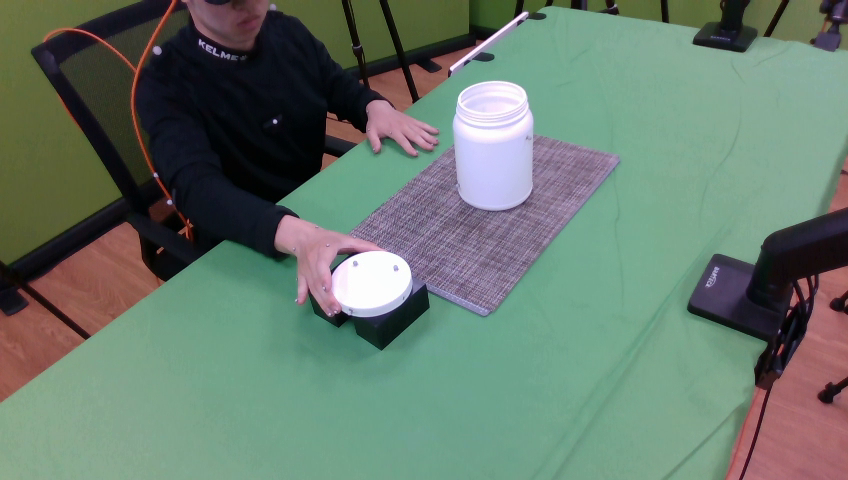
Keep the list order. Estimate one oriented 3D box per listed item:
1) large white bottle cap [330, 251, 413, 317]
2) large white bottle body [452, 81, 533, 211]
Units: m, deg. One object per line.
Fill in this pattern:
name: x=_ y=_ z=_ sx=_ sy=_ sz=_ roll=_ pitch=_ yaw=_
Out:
large white bottle cap: x=-0.073 y=0.059 z=0.835 sx=0.115 sy=0.018 sz=0.114 roll=-4 pitch=41 yaw=4
large white bottle body: x=0.115 y=-0.156 z=1.002 sx=0.130 sy=0.185 sz=0.130 roll=-5 pitch=41 yaw=4
